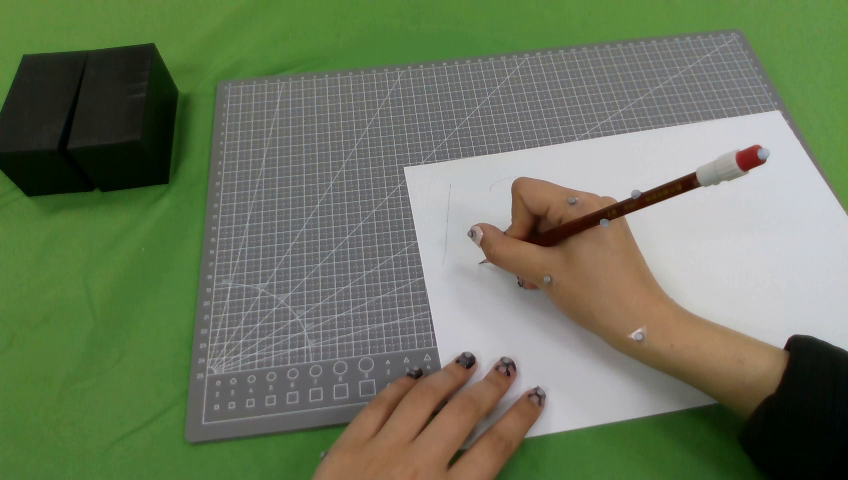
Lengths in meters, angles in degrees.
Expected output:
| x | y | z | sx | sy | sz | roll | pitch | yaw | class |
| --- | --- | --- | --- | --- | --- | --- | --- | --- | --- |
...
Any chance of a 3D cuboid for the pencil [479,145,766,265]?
| x | y | z | sx | sy | sz | roll | pitch | yaw | class |
| --- | --- | --- | --- | --- | --- | --- | --- | --- | --- |
| 0.090 | -0.010 | 0.332 | 0.012 | 0.194 | 0.012 | 12 | 67 | -31 | pencil |
